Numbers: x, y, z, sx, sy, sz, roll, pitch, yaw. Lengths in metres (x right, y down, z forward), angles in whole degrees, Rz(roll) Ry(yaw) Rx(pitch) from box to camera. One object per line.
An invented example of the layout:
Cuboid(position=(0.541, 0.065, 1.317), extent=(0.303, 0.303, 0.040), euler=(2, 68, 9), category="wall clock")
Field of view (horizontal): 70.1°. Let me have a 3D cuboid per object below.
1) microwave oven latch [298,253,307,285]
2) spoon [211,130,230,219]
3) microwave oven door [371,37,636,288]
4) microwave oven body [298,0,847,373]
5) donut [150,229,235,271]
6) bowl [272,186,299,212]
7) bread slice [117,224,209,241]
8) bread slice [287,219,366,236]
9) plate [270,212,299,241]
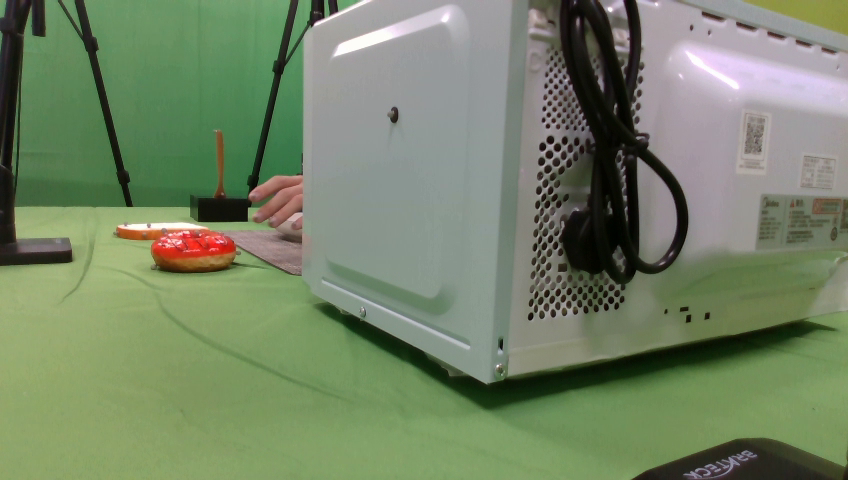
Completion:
Cuboid(position=(-0.081, 0.027, 0.582), extent=(0.079, 0.029, 0.030), euler=(-1, 7, -32), category="microwave oven latch")
Cuboid(position=(-0.436, -0.138, 1.296), extent=(0.042, 0.193, 0.021), euler=(-3, 23, -27), category="spoon")
Cuboid(position=(0.109, -0.080, 0.687), extent=(0.358, 0.243, 0.039), euler=(-2, 9, -33), category="microwave oven door")
Cuboid(position=(0.151, -0.055, 0.542), extent=(0.444, 0.260, 0.324), euler=(-2, 7, -33), category="microwave oven body")
Cuboid(position=(-0.285, 0.013, 0.747), extent=(0.099, 0.048, 0.099), euler=(3, 10, 0), category="donut")
Cuboid(position=(-0.254, -0.075, 1.318), extent=(0.151, 0.077, 0.151), euler=(2, 7, 0), category="bowl")
Cuboid(position=(-0.443, -0.015, 1.022), extent=(0.132, 0.019, 0.104), euler=(-3, 8, -45), category="bread slice")
Cuboid(position=(-0.170, -0.023, 1.056), extent=(0.134, 0.018, 0.107), euler=(1, 7, -6), category="bread slice")
Cuboid(position=(-0.162, -0.022, 1.058), extent=(0.208, 0.039, 0.207), euler=(2, 7, 0), category="plate")
